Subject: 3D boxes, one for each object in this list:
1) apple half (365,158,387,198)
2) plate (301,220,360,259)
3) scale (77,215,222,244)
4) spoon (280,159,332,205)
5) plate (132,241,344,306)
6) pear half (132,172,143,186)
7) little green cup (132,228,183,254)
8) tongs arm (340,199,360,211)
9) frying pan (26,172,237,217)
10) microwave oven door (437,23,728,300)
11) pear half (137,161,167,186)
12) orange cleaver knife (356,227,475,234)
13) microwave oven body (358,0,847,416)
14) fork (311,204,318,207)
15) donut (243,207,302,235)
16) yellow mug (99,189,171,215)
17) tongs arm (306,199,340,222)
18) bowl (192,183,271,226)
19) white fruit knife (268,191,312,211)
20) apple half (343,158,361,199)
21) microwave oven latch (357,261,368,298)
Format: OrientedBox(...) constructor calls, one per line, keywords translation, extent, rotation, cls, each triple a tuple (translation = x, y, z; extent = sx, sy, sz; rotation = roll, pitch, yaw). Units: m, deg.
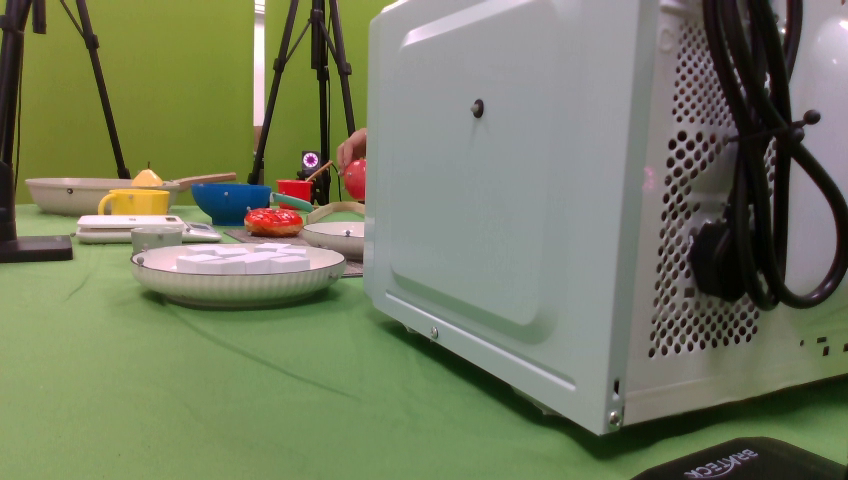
OrientedBox(translation=(-0.083, -0.115, 1.109), extent=(0.033, 0.081, 0.081), rotation=(-7, 6, 9), cls="apple half")
OrientedBox(translation=(-0.077, -0.002, 0.893), extent=(0.209, 0.038, 0.209), rotation=(3, 8, 0), cls="plate")
OrientedBox(translation=(-0.434, -0.019, 0.963), extent=(0.202, 0.031, 0.148), rotation=(-1, 9, -27), cls="scale")
OrientedBox(translation=(-0.316, -0.159, 1.640), extent=(0.194, 0.022, 0.041), rotation=(-50, 32, -20), cls="spoon")
OrientedBox(translation=(-0.187, 0.033, 0.625), extent=(0.208, 0.039, 0.207), rotation=(2, 8, 0), cls="plate")
OrientedBox(translation=(-0.638, -0.113, 1.361), extent=(0.031, 0.088, 0.070), rotation=(5, 10, 4), cls="pear half")
OrientedBox(translation=(-0.342, 0.006, 0.779), extent=(0.061, 0.038, 0.061), rotation=(2, 8, 0), cls="little green cup")
OrientedBox(translation=(-0.149, -0.071, 1.429), extent=(0.051, 0.026, 0.383), rotation=(-3, 9, -15), cls="tongs arm")
OrientedBox(translation=(-0.624, -0.118, 1.387), extent=(0.305, 0.102, 0.490), rotation=(8, 17, 32), cls="frying pan")
OrientedBox(translation=(0.180, -0.072, 0.621), extent=(0.358, 0.243, 0.039), rotation=(-2, 9, -29), cls="microwave oven door")
OrientedBox(translation=(-0.602, -0.120, 1.354), extent=(0.056, 0.110, 0.076), rotation=(4, 11, 6), cls="pear half")
OrientedBox(translation=(-0.017, -0.015, 1.080), extent=(0.211, 0.012, 0.077), rotation=(-1, 0, -3), cls="orange cleaver knife")
OrientedBox(translation=(0.211, -0.047, 0.474), extent=(0.444, 0.260, 0.324), rotation=(-1, 7, -28), cls="microwave oven body")
OrientedBox(translation=(-0.356, -0.105, 1.526), extent=(0.208, 0.018, 0.028), rotation=(16, -6, -41), cls="fork")
OrientedBox(translation=(-0.261, -0.032, 1.043), extent=(0.099, 0.048, 0.099), rotation=(4, 9, 0), cls="donut")
OrientedBox(translation=(-0.518, -0.055, 1.080), extent=(0.099, 0.064, 0.131), rotation=(6, 9, 26), cls="yellow mug")
OrientedBox(translation=(-0.234, -0.070, 1.413), extent=(0.028, 0.028, 0.387), rotation=(-4, 8, 0), cls="tongs arm")
OrientedBox(translation=(-0.382, -0.071, 1.202), extent=(0.151, 0.077, 0.151), rotation=(3, 7, 0), cls="bowl")
OrientedBox(translation=(-0.364, -0.105, 1.464), extent=(0.208, 0.027, 0.016), rotation=(15, 0, -34), cls="white fruit knife")
OrientedBox(translation=(-0.121, -0.112, 1.114), extent=(0.053, 0.074, 0.081), rotation=(-8, 3, 10), cls="apple half")
OrientedBox(translation=(-0.019, 0.033, 0.530), extent=(0.079, 0.029, 0.030), rotation=(-1, 7, -26), cls="microwave oven latch")
